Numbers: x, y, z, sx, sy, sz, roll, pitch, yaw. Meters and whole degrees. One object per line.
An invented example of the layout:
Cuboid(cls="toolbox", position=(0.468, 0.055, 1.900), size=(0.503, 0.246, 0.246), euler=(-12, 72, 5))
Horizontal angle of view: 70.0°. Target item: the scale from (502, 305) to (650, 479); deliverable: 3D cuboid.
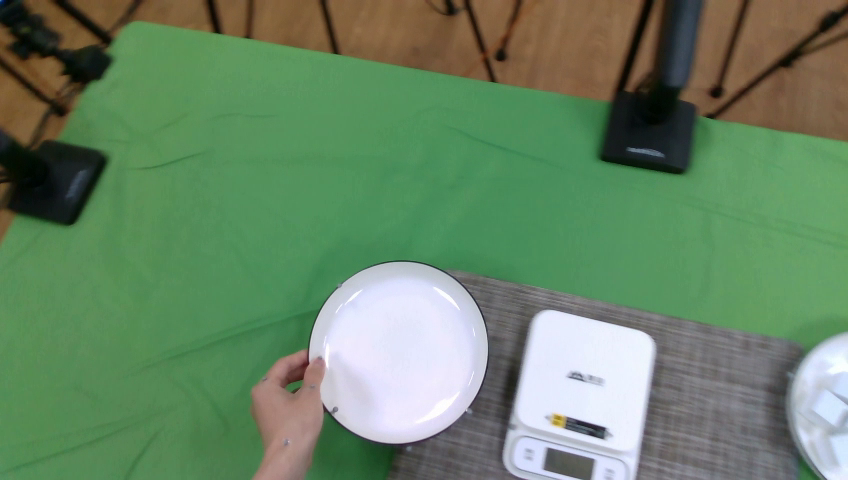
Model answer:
Cuboid(cls="scale", position=(0.182, 0.185, 0.721), size=(0.148, 0.032, 0.200), euler=(12, 71, 9))

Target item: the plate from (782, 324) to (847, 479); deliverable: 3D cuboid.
Cuboid(cls="plate", position=(0.513, 0.199, 0.690), size=(0.207, 0.039, 0.206), euler=(-1, 69, 4))

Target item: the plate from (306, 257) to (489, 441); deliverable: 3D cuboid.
Cuboid(cls="plate", position=(-0.030, 0.122, 0.697), size=(0.209, 0.038, 0.208), euler=(-2, 72, 5))
